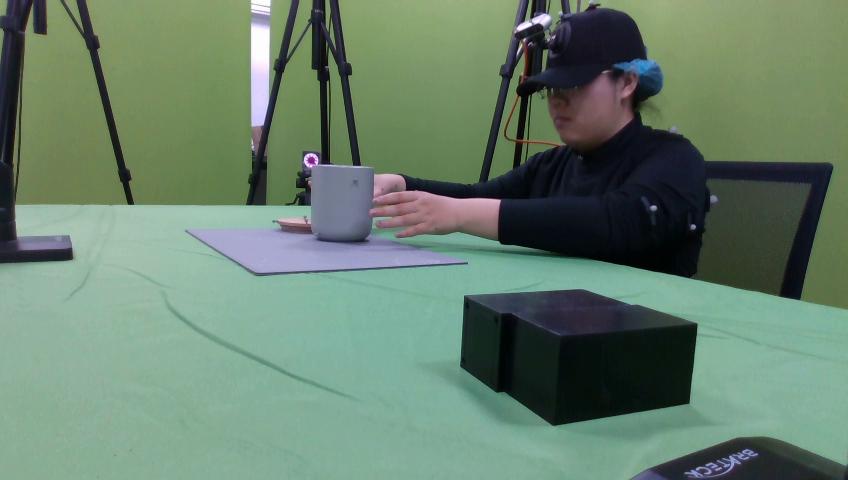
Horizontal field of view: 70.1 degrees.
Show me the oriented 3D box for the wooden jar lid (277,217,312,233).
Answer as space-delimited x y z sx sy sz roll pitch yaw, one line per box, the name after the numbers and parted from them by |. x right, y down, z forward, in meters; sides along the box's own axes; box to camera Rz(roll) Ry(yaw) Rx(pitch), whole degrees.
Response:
-0.221 -0.028 1.138 0.108 0.020 0.108 2 8 0 | wooden jar lid

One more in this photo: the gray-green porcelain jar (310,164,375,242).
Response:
-0.139 -0.064 1.025 0.106 0.126 0.106 3 7 0 | gray-green porcelain jar
